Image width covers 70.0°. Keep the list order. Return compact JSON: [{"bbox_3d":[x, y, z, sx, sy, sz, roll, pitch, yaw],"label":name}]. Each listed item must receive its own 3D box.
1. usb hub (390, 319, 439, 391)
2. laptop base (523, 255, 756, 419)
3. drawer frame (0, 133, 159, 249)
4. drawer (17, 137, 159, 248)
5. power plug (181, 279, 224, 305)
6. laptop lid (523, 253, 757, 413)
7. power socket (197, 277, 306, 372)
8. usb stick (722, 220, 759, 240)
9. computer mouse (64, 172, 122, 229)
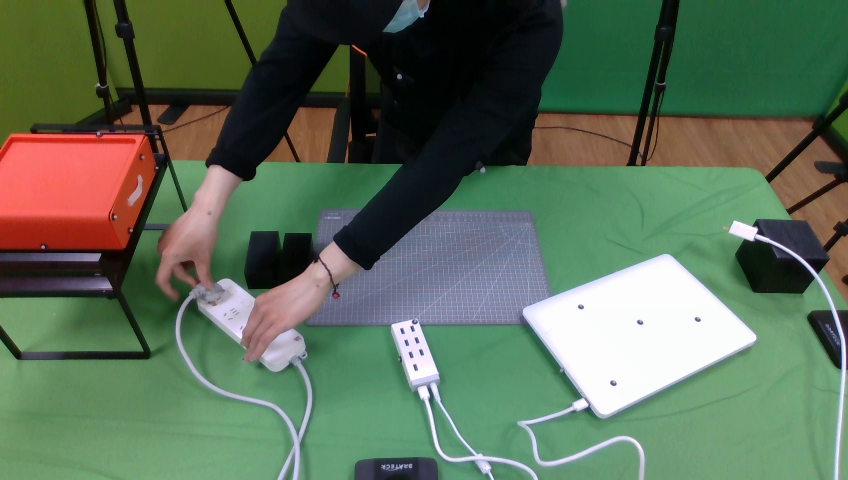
[{"bbox_3d":[-0.016,0.190,1.013,0.049,0.025,0.124,-10,48,-15],"label":"usb hub"},{"bbox_3d":[0.381,0.157,1.080,0.355,0.023,0.234,-18,48,-20],"label":"laptop base"},{"bbox_3d":[-0.553,-0.078,0.942,0.214,0.083,0.200,-1,47,-4],"label":"drawer frame"},{"bbox_3d":[-0.549,-0.079,0.944,0.212,0.073,0.193,0,47,-3],"label":"drawer"},{"bbox_3d":[-0.375,0.094,1.026,0.072,0.053,0.035,-27,39,-30],"label":"power plug"},{"bbox_3d":[0.380,0.147,1.073,0.357,0.013,0.240,-17,48,-19],"label":"laptop lid"},{"bbox_3d":[-0.297,0.141,1.034,0.226,0.033,0.072,33,53,24],"label":"power socket"},{"bbox_3d":[0.593,-0.021,1.139,0.059,0.027,0.021,22,12,28],"label":"usb stick"},{"bbox_3d":[-0.521,-0.067,0.955,0.063,0.041,0.116,1,48,-9],"label":"computer mouse"}]
